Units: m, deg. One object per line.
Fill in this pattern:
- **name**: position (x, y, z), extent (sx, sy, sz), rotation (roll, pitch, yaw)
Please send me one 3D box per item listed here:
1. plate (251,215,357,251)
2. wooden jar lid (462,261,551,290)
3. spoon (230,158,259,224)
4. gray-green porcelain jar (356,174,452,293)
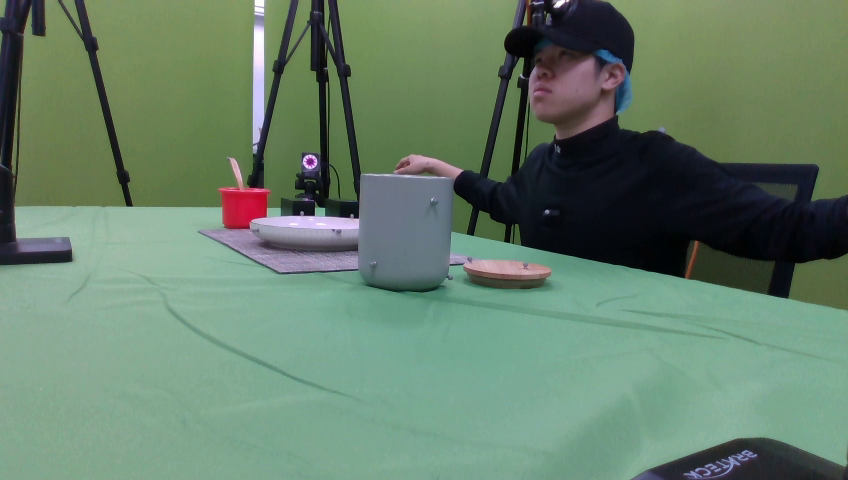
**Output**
- **plate**: position (-0.170, -0.012, 0.971), extent (0.208, 0.039, 0.207), rotation (2, 7, 0)
- **wooden jar lid**: position (0.100, 0.043, 0.742), extent (0.108, 0.020, 0.108), rotation (2, 6, 0)
- **spoon**: position (-0.366, -0.101, 1.215), extent (0.042, 0.021, 0.193), rotation (-1, 52, -30)
- **gray-green porcelain jar**: position (-0.023, -0.009, 0.682), extent (0.106, 0.126, 0.106), rotation (2, 7, 0)
